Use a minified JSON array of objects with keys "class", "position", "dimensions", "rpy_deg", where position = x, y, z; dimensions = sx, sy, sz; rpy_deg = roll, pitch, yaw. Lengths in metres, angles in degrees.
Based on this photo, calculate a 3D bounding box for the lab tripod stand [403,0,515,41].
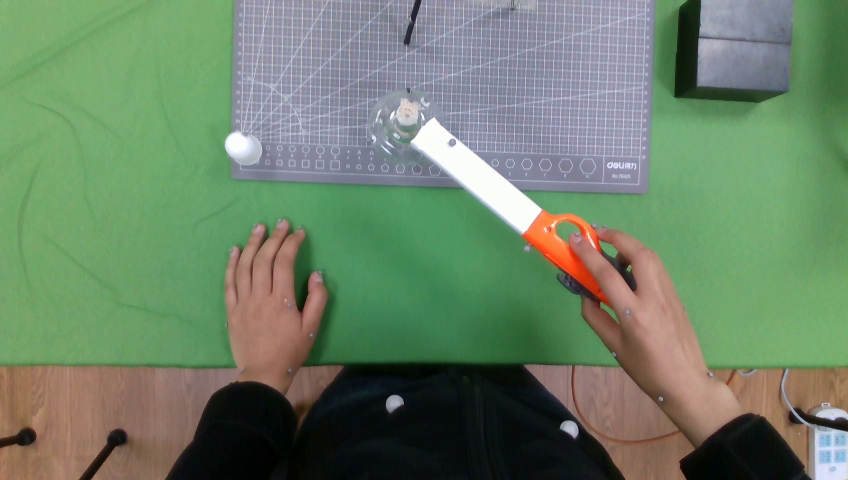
[{"class":"lab tripod stand","position":[0.026,-0.270,0.583],"dimensions":[0.148,0.131,0.148],"rpy_deg":[0,90,-2]}]

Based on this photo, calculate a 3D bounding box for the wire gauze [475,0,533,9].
[{"class":"wire gauze","position":[0.036,-0.265,0.516],"dimensions":[0.125,0.011,0.121],"rpy_deg":[4,91,-3]}]

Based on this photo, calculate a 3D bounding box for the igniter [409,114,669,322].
[{"class":"igniter","position":[0.105,-0.014,0.541],"dimensions":[0.277,0.025,0.057],"rpy_deg":[38,86,-4]}]

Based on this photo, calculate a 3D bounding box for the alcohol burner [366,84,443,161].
[{"class":"alcohol burner","position":[-0.019,-0.117,0.593],"dimensions":[0.078,0.119,0.078],"rpy_deg":[0,92,-2]}]

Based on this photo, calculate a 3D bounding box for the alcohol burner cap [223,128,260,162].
[{"class":"alcohol burner cap","position":[-0.188,-0.099,0.617],"dimensions":[0.034,0.048,0.034],"rpy_deg":[0,89,-5]}]
